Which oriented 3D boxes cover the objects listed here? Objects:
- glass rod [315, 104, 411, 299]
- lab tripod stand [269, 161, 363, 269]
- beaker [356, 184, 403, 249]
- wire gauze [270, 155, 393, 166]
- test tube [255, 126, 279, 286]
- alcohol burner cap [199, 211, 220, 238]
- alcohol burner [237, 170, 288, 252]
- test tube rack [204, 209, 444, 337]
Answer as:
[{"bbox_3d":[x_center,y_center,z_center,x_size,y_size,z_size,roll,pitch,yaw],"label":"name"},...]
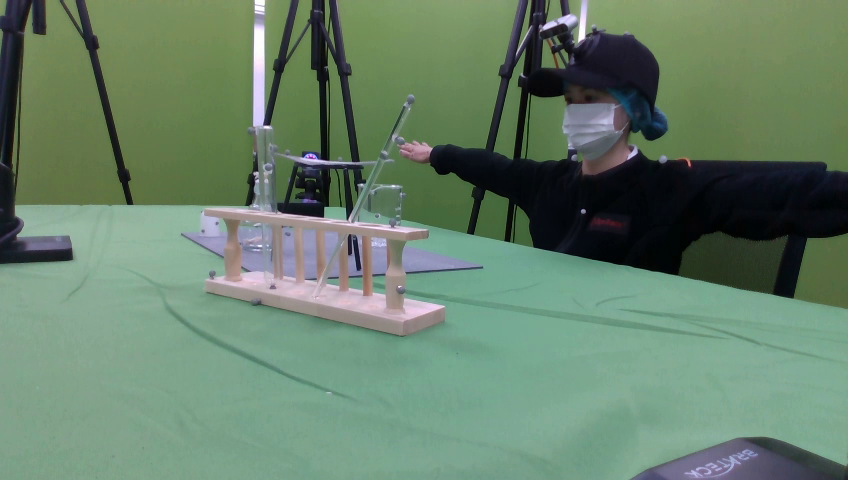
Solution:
[{"bbox_3d":[-0.055,-0.026,0.516,0.008,0.199,0.008,23,24,-11],"label":"glass rod"},{"bbox_3d":[-0.125,-0.036,0.794,0.148,0.131,0.148,5,7,0],"label":"lab tripod stand"},{"bbox_3d":[-0.074,-0.039,0.975,0.074,0.100,0.084,4,8,12],"label":"beaker"},{"bbox_3d":[-0.121,-0.102,0.785,0.122,0.011,0.124,-3,10,-39],"label":"wire gauze"},{"bbox_3d":[-0.147,-0.031,0.566,0.017,0.150,0.017,-1,8,0],"label":"test tube"},{"bbox_3d":[-0.356,-0.027,1.002,0.034,0.048,0.034,2,7,0],"label":"alcohol burner cap"},{"bbox_3d":[-0.236,-0.042,0.882,0.078,0.119,0.078,2,9,0],"label":"alcohol burner"},{"bbox_3d":[-0.100,0.021,0.565,0.241,0.085,0.067,7,9,32],"label":"test tube rack"}]
